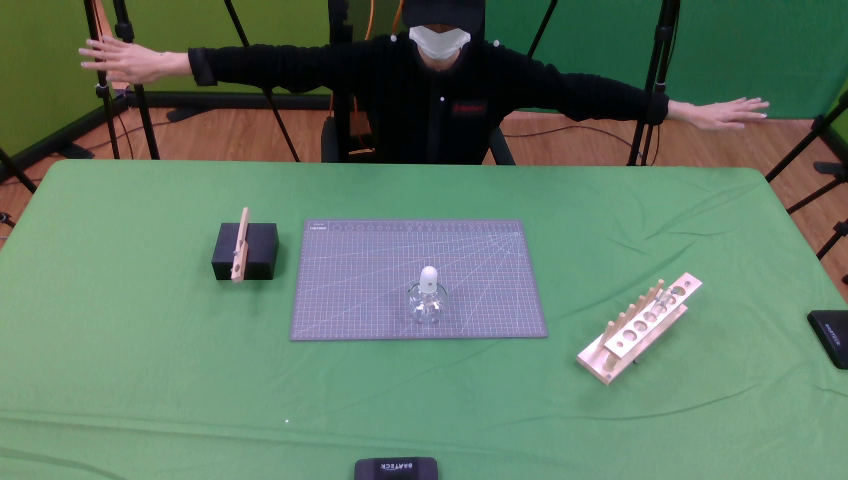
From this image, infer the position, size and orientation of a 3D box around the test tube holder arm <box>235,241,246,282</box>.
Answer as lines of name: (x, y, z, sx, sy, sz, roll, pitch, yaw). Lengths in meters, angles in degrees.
test tube holder arm: (-0.323, 0.037, 1.071, 0.010, 0.015, 0.087, -9, 46, -2)

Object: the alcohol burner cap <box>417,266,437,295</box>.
alcohol burner cap: (0.006, 0.065, 1.017, 0.034, 0.048, 0.033, 4, 42, -3)

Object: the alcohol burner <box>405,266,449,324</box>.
alcohol burner: (0.005, 0.089, 1.043, 0.078, 0.120, 0.077, 1, 44, -1)

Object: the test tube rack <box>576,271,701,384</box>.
test tube rack: (0.373, 0.138, 1.047, 0.242, 0.085, 0.066, -31, 56, -29)

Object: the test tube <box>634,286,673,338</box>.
test tube: (0.374, 0.123, 0.993, 0.017, 0.151, 0.017, 2, 52, -2)

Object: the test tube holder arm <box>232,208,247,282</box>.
test tube holder arm: (-0.335, 0.006, 1.102, 0.013, 0.015, 0.177, -9, 46, -2)
